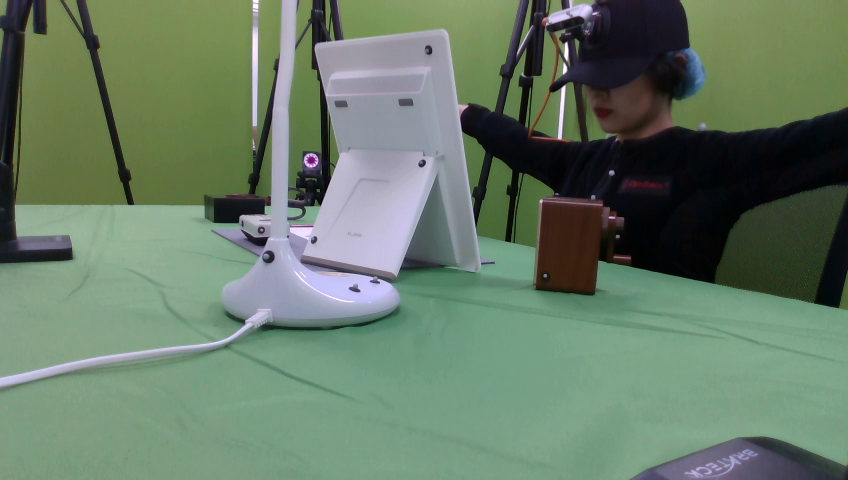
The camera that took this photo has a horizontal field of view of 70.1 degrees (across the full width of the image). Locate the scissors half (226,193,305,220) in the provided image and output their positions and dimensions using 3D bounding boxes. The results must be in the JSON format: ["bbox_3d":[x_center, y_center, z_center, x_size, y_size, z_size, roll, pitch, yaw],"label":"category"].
[{"bbox_3d":[-0.341,-0.077,1.310,0.176,0.040,0.012,17,11,-33],"label":"scissors half"}]

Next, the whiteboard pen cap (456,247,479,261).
[{"bbox_3d":[0.060,0.020,0.851,0.033,0.018,0.018,10,10,37],"label":"whiteboard pen cap"}]

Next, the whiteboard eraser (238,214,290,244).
[{"bbox_3d":[-0.253,-0.017,0.955,0.056,0.042,0.112,-1,8,-29],"label":"whiteboard eraser"}]

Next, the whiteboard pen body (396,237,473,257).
[{"bbox_3d":[0.014,0.012,0.886,0.140,0.017,0.017,10,10,38],"label":"whiteboard pen body"}]

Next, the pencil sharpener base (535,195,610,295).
[{"bbox_3d":[0.172,0.005,0.695,0.076,0.107,0.061,5,7,16],"label":"pencil sharpener base"}]

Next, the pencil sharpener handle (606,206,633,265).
[{"bbox_3d":[0.223,-0.004,0.683,0.030,0.068,0.036,5,21,17],"label":"pencil sharpener handle"}]

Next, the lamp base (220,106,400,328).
[{"bbox_3d":[-0.101,-0.023,0.531,0.160,0.180,0.179,4,10,10],"label":"lamp base"}]

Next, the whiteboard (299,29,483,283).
[{"bbox_3d":[-0.074,-0.082,0.742,0.216,0.305,0.144,9,30,38],"label":"whiteboard"}]

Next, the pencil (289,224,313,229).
[{"bbox_3d":[-0.221,-0.029,1.211,0.195,0.012,0.012,-5,10,-34],"label":"pencil"}]

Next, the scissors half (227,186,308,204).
[{"bbox_3d":[-0.336,-0.096,1.305,0.176,0.040,0.013,-3,16,-29],"label":"scissors half"}]
